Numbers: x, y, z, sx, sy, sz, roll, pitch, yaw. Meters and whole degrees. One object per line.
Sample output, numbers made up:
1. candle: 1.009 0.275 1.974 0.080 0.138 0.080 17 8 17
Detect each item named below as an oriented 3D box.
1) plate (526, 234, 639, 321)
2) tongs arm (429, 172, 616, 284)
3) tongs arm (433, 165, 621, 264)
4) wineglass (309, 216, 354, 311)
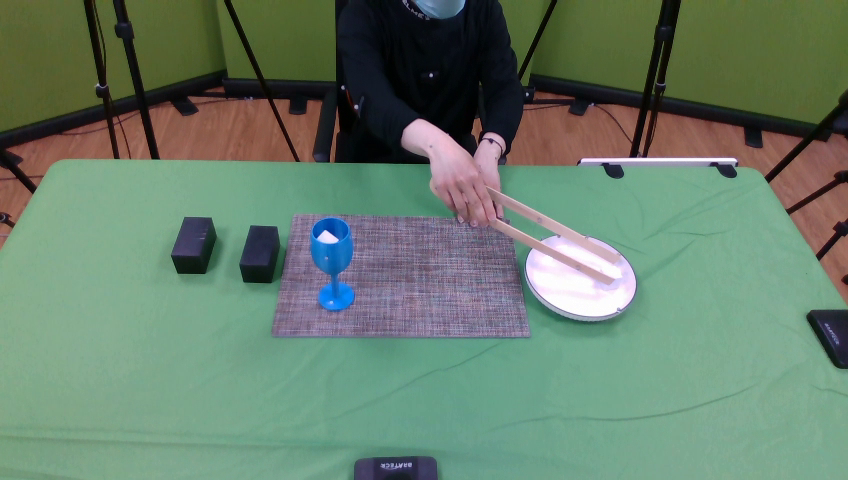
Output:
1. plate: 0.292 0.071 1.135 0.209 0.038 0.208 2 46 -2
2. tongs arm: 0.177 -0.019 1.116 0.387 0.028 0.028 29 56 3
3. tongs arm: 0.190 -0.042 1.137 0.384 0.026 0.050 30 53 3
4. wineglass: -0.155 0.043 1.032 0.074 0.173 0.073 2 46 -2
